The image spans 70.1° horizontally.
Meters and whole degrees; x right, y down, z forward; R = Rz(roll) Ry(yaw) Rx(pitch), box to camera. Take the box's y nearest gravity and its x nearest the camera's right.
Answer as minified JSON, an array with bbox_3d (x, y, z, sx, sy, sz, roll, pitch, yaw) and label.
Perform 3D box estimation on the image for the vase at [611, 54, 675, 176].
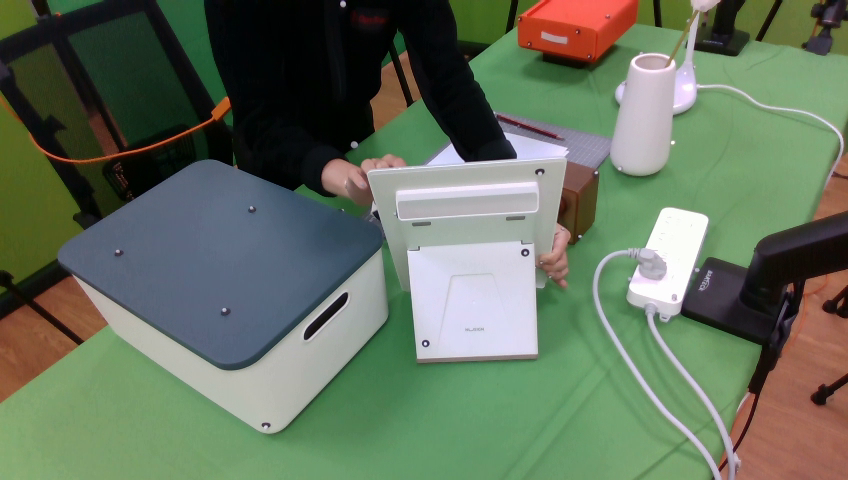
[{"bbox_3d":[0.377,-0.209,1.031,0.098,0.201,0.097,-3,40,3],"label":"vase"}]

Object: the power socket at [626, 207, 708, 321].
[{"bbox_3d":[0.359,0.026,0.886,0.072,0.033,0.227,16,46,26],"label":"power socket"}]

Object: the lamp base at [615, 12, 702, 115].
[{"bbox_3d":[0.484,-0.363,1.211,0.180,0.181,0.159,-15,41,-14],"label":"lamp base"}]

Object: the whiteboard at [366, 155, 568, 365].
[{"bbox_3d":[0.059,0.050,0.738,0.217,0.307,0.143,-3,60,5],"label":"whiteboard"}]

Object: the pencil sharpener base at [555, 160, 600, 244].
[{"bbox_3d":[0.228,-0.057,0.945,0.061,0.107,0.077,24,50,31],"label":"pencil sharpener base"}]

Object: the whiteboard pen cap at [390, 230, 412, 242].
[{"bbox_3d":[-0.037,-0.006,0.980,0.033,0.018,0.018,9,43,17],"label":"whiteboard pen cap"}]

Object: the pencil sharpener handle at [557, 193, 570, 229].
[{"bbox_3d":[0.195,-0.038,0.908,0.035,0.068,0.031,23,50,31],"label":"pencil sharpener handle"}]

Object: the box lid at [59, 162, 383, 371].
[{"bbox_3d":[-0.262,0.010,0.777,0.369,0.015,0.264,21,48,29],"label":"box lid"}]

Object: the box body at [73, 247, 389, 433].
[{"bbox_3d":[-0.255,0.065,0.827,0.361,0.161,0.255,21,48,29],"label":"box body"}]

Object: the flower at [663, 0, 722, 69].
[{"bbox_3d":[0.379,-0.261,0.965,0.044,0.362,0.038,21,53,5],"label":"flower"}]

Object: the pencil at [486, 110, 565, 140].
[{"bbox_3d":[0.204,-0.232,1.226,0.192,0.012,0.012,29,52,33],"label":"pencil"}]

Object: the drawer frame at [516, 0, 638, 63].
[{"bbox_3d":[0.355,-0.508,1.410,0.200,0.083,0.214,23,51,32],"label":"drawer frame"}]

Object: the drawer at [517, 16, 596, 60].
[{"bbox_3d":[0.352,-0.506,1.405,0.193,0.073,0.212,23,49,32],"label":"drawer"}]

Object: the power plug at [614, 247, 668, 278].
[{"bbox_3d":[0.306,0.031,0.851,0.072,0.053,0.035,24,49,33],"label":"power plug"}]

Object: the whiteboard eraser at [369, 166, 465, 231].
[{"bbox_3d":[-0.010,-0.046,0.741,0.112,0.056,0.041,-23,55,32],"label":"whiteboard eraser"}]
